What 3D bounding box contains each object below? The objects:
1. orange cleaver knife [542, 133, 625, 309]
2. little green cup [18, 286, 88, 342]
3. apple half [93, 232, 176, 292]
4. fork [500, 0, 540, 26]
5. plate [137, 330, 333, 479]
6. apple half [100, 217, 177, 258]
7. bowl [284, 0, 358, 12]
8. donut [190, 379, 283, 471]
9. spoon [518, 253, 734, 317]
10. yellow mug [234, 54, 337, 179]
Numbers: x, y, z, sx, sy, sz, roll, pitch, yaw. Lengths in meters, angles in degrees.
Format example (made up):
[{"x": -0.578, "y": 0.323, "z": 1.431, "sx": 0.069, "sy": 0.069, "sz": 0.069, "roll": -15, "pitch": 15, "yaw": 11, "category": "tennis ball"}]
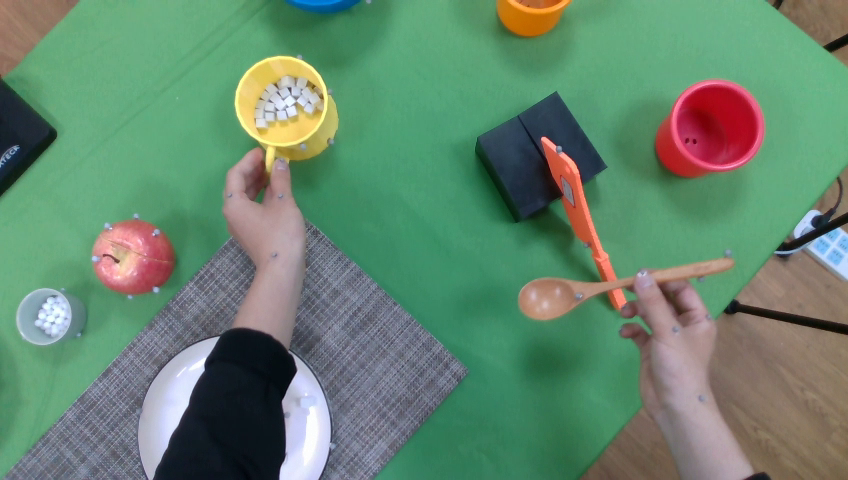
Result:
[{"x": 0.170, "y": -0.017, "z": 0.648, "sx": 0.012, "sy": 0.076, "sz": 0.213, "roll": -28, "pitch": 116, "yaw": 0, "category": "orange cleaver knife"}, {"x": -0.410, "y": 0.082, "z": 0.674, "sx": 0.061, "sy": 0.039, "sz": 0.061, "roll": 0, "pitch": 85, "yaw": 2, "category": "little green cup"}, {"x": -0.318, "y": 0.029, "z": 0.661, "sx": 0.081, "sy": 0.074, "sz": 0.053, "roll": 22, "pitch": 90, "yaw": 0, "category": "apple half"}, {"x": 0.155, "y": -0.311, "z": 0.644, "sx": 0.028, "sy": 0.018, "sz": 0.207, "roll": 53, "pitch": 131, "yaw": 7, "category": "fork"}, {"x": -0.200, "y": 0.200, "z": 0.656, "sx": 0.209, "sy": 0.038, "sz": 0.208, "roll": 0, "pitch": 85, "yaw": 1, "category": "plate"}, {"x": -0.304, "y": -0.007, "z": 0.662, "sx": 0.081, "sy": 0.081, "sz": 0.033, "roll": 22, "pitch": 89, "yaw": 4, "category": "apple half"}, {"x": -0.112, "y": -0.320, "z": 0.686, "sx": 0.151, "sy": 0.077, "sz": 0.151, "roll": 0, "pitch": 85, "yaw": 1, "category": "bowl"}, {"x": -0.199, "y": 0.197, "z": 0.645, "sx": 0.099, "sy": 0.048, "sz": 0.099, "roll": 0, "pitch": 88, "yaw": 1, "category": "donut"}, {"x": 0.183, "y": 0.038, "z": 0.562, "sx": 0.193, "sy": 0.022, "sz": 0.041, "roll": -13, "pitch": 72, "yaw": 20, "category": "spoon"}, {"x": -0.156, "y": -0.132, "z": 0.675, "sx": 0.100, "sy": 0.064, "sz": 0.130, "roll": 11, "pitch": 86, "yaw": 2, "category": "yellow mug"}]
